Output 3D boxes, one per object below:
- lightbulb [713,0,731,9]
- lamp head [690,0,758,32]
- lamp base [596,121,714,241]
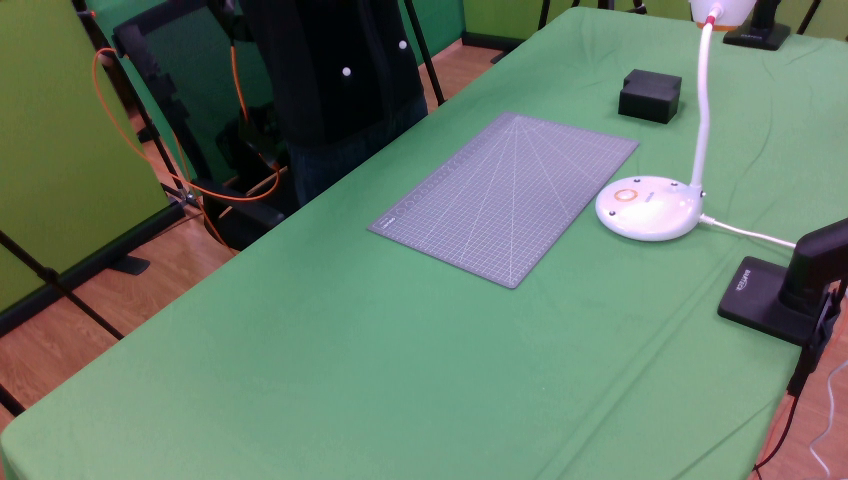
[{"bbox_3d":[0.432,-0.387,0.864,0.059,0.108,0.059,-5,31,4],"label":"lightbulb"},{"bbox_3d":[0.434,-0.363,0.870,0.112,0.123,0.112,2,28,0],"label":"lamp head"},{"bbox_3d":[0.363,-0.110,0.921,0.178,0.181,0.160,13,45,21],"label":"lamp base"}]
